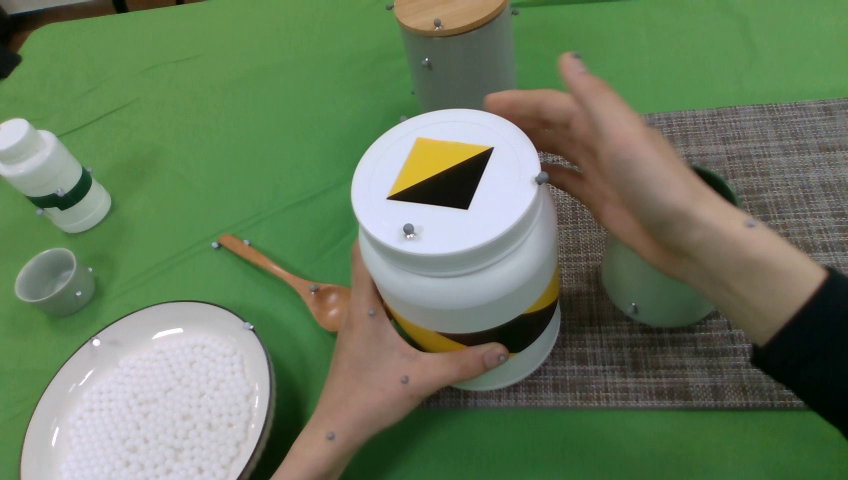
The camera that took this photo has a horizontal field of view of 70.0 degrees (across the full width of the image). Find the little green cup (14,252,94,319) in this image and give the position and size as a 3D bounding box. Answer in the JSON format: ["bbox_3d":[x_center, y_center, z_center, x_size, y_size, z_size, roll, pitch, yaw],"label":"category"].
[{"bbox_3d":[-0.357,0.046,0.590,0.061,0.039,0.061,-6,53,9],"label":"little green cup"}]

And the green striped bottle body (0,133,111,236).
[{"bbox_3d":[-0.386,-0.062,0.622,0.063,0.120,0.062,-6,54,9],"label":"green striped bottle body"}]

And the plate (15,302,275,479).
[{"bbox_3d":[-0.216,0.148,0.487,0.209,0.038,0.207,-6,54,8],"label":"plate"}]

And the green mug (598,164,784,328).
[{"bbox_3d":[0.195,0.011,0.447,0.124,0.106,0.092,16,59,22],"label":"green mug"}]

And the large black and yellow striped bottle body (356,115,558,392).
[{"bbox_3d":[0.028,0.015,0.430,0.130,0.186,0.129,-6,54,9],"label":"large black and yellow striped bottle body"}]

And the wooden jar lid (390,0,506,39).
[{"bbox_3d":[0.023,-0.214,0.555,0.108,0.021,0.107,-8,52,11],"label":"wooden jar lid"}]

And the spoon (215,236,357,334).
[{"bbox_3d":[-0.133,0.033,0.560,0.192,0.022,0.041,27,79,27],"label":"spoon"}]

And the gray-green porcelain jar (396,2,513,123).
[{"bbox_3d":[0.035,-0.174,0.603,0.106,0.128,0.105,-6,50,8],"label":"gray-green porcelain jar"}]

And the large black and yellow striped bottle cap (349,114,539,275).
[{"bbox_3d":[0.011,-0.031,0.363,0.115,0.019,0.114,-6,53,9],"label":"large black and yellow striped bottle cap"}]

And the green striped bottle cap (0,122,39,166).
[{"bbox_3d":[-0.396,-0.092,0.581,0.044,0.020,0.044,-5,55,7],"label":"green striped bottle cap"}]
